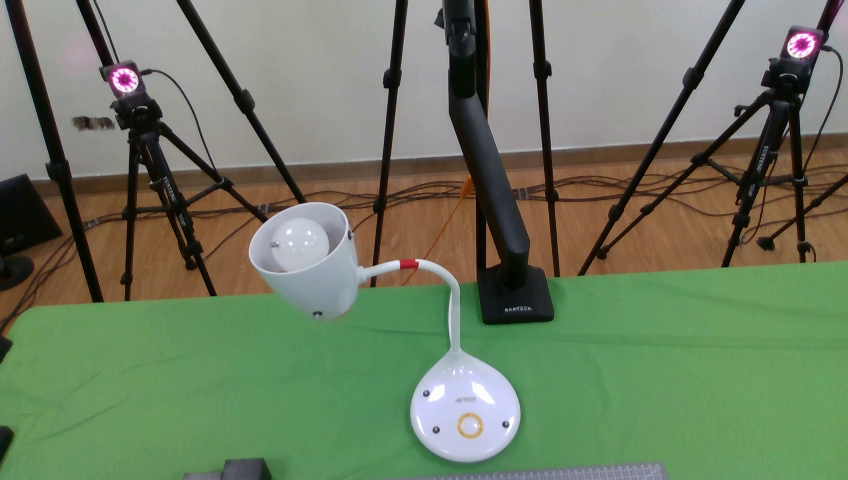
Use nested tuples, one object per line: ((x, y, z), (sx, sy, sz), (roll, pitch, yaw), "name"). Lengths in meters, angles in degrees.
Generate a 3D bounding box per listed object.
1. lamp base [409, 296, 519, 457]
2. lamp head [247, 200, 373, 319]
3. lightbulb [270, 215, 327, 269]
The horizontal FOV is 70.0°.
((0.050, 0.178, 0.839), (0.161, 0.182, 0.177), (-13, 42, -10), "lamp base")
((-0.121, 0.030, 0.689), (0.112, 0.124, 0.111), (-12, 44, 13), "lamp head")
((-0.130, 0.018, 0.668), (0.059, 0.109, 0.059), (-7, 49, 8), "lightbulb")
